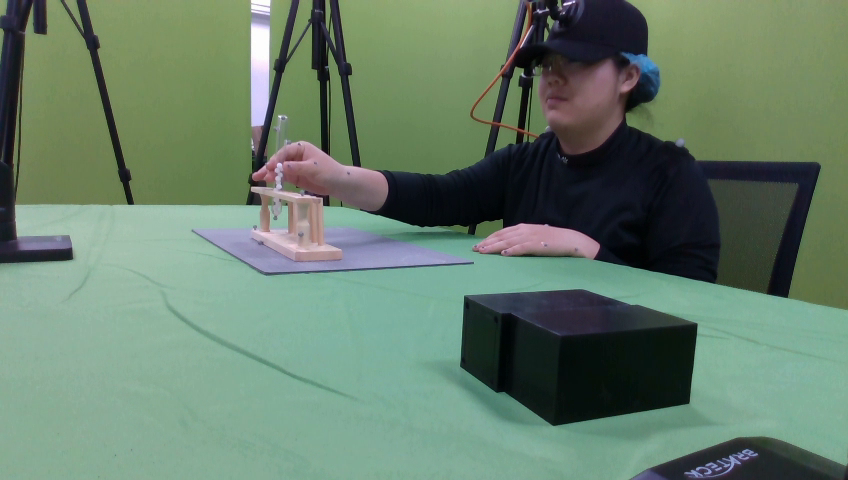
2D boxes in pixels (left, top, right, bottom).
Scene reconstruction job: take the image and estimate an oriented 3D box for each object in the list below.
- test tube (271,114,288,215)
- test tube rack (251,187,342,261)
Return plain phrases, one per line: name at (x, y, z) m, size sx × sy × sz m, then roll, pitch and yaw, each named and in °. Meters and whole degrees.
test tube at (-0.215, -0.112, 0.900) m, size 0.017 × 0.150 × 0.017 m, roll 5°, pitch 4°, yaw 0°
test tube rack at (-0.196, -0.030, 0.902) m, size 0.067 × 0.085 × 0.241 m, roll -2°, pitch 8°, yaw -29°
